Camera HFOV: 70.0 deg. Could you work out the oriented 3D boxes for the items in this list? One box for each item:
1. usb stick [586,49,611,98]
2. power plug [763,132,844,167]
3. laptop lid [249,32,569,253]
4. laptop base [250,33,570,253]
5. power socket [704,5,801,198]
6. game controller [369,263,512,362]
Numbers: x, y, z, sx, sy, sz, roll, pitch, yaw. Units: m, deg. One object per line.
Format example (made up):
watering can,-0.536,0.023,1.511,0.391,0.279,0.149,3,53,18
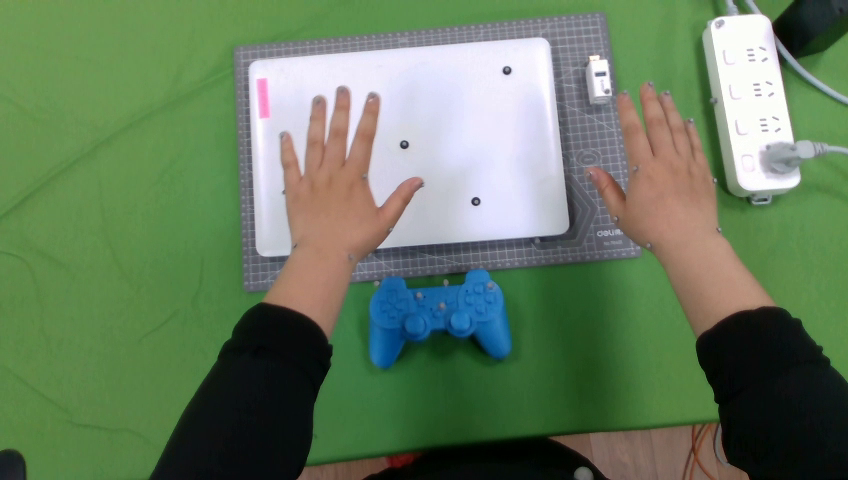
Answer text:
usb stick,0.201,-0.197,0.700,0.021,0.027,0.059,-5,78,3
power plug,0.405,-0.095,0.656,0.072,0.053,0.035,7,80,-1
laptop lid,-0.021,-0.113,0.688,0.357,0.013,0.241,-3,82,1
laptop base,-0.021,-0.114,0.700,0.354,0.023,0.235,-5,83,1
power socket,0.371,-0.162,0.688,0.072,0.033,0.226,-4,80,2
game controller,0.015,0.076,0.652,0.155,0.052,0.096,-4,74,1
